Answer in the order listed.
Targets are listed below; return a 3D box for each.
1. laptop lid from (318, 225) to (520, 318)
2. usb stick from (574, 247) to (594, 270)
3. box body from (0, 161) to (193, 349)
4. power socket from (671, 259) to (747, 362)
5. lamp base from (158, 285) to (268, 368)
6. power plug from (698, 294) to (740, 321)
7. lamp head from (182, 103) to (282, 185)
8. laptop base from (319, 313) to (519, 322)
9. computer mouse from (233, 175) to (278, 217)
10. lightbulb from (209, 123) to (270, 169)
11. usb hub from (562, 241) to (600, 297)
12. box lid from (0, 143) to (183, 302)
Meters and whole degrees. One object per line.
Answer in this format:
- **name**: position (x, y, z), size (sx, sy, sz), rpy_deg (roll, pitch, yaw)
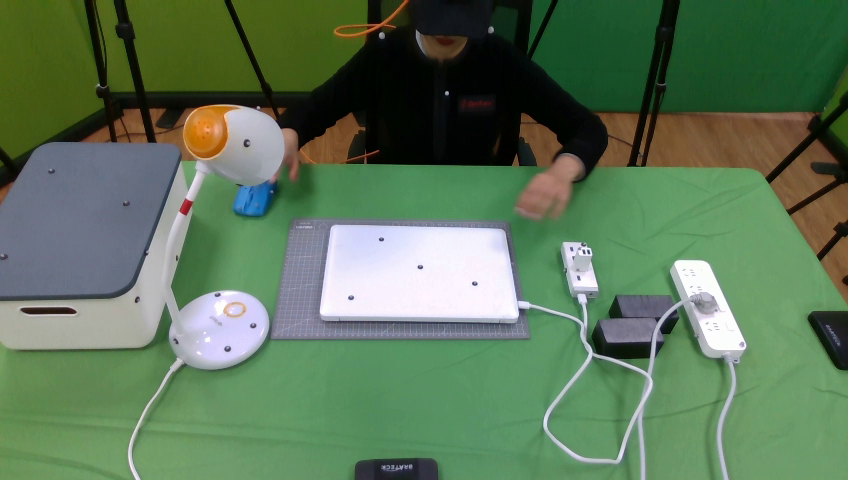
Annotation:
- **laptop lid**: position (-0.009, 0.052, 1.131), size (0.357, 0.013, 0.240), rpy_deg (2, 43, -2)
- **usb stick**: position (0.298, 0.040, 1.136), size (0.027, 0.059, 0.021), rpy_deg (2, 46, -4)
- **box body**: position (-0.570, 0.006, 1.054), size (0.254, 0.161, 0.361), rpy_deg (-1, 46, -4)
- **power socket**: position (0.517, 0.119, 1.108), size (0.072, 0.033, 0.225), rpy_deg (0, 46, -2)
- **lamp base**: position (-0.348, 0.102, 0.963), size (0.160, 0.181, 0.178), rpy_deg (23, 51, 18)
- **power plug**: position (0.515, 0.127, 1.070), size (0.035, 0.053, 0.072), rpy_deg (-18, 56, -7)
- **lamp head**: position (-0.271, -0.133, 0.825), size (0.112, 0.112, 0.123), rpy_deg (20, 8, 15)
- **laptop base**: position (-0.009, 0.062, 1.137), size (0.354, 0.023, 0.234), rpy_deg (1, 42, -3)
- **computer mouse**: position (-0.349, -0.097, 1.258), size (0.063, 0.041, 0.116), rpy_deg (10, 50, 3)
- **lightbulb**: position (-0.260, -0.136, 0.847), size (0.059, 0.108, 0.059), rpy_deg (-4, 78, 20)
- **usb hub**: position (0.300, 0.055, 1.161), size (0.049, 0.025, 0.124), rpy_deg (2, 46, -3)
- **box lid**: position (-0.567, -0.045, 0.999), size (0.263, 0.015, 0.369), rpy_deg (-1, 46, -4)
